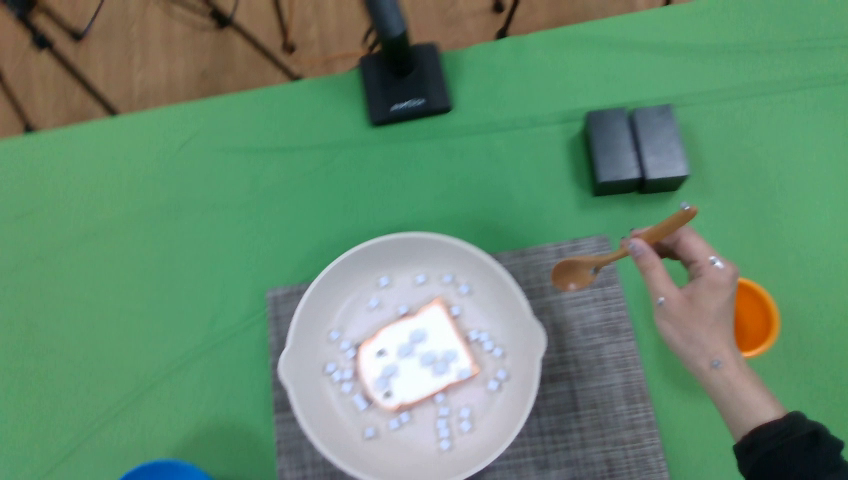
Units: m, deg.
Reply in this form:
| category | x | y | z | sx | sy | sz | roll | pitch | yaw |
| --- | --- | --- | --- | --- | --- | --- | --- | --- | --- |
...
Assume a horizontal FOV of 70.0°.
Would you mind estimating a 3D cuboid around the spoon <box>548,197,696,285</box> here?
| category | x | y | z | sx | sy | sz | roll | pitch | yaw |
| --- | --- | --- | --- | --- | --- | --- | --- | --- | --- |
| spoon | 0.177 | 0.006 | 0.557 | 0.042 | 0.194 | 0.021 | 33 | 63 | -8 |

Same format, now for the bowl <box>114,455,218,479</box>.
| category | x | y | z | sx | sy | sz | roll | pitch | yaw |
| --- | --- | --- | --- | --- | --- | --- | --- | --- | --- |
| bowl | -0.283 | 0.321 | 0.685 | 0.151 | 0.077 | 0.150 | -1 | 73 | 5 |

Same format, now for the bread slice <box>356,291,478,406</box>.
| category | x | y | z | sx | sy | sz | roll | pitch | yaw |
| --- | --- | --- | --- | --- | --- | --- | --- | --- | --- |
| bread slice | -0.014 | 0.140 | 0.738 | 0.134 | 0.018 | 0.106 | -29 | 73 | -6 |

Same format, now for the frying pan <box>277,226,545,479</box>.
| category | x | y | z | sx | sy | sz | roll | pitch | yaw |
| --- | --- | --- | --- | --- | --- | --- | --- | --- | --- |
| frying pan | -0.006 | 0.223 | 0.671 | 0.307 | 0.103 | 0.483 | -7 | 64 | 4 |
